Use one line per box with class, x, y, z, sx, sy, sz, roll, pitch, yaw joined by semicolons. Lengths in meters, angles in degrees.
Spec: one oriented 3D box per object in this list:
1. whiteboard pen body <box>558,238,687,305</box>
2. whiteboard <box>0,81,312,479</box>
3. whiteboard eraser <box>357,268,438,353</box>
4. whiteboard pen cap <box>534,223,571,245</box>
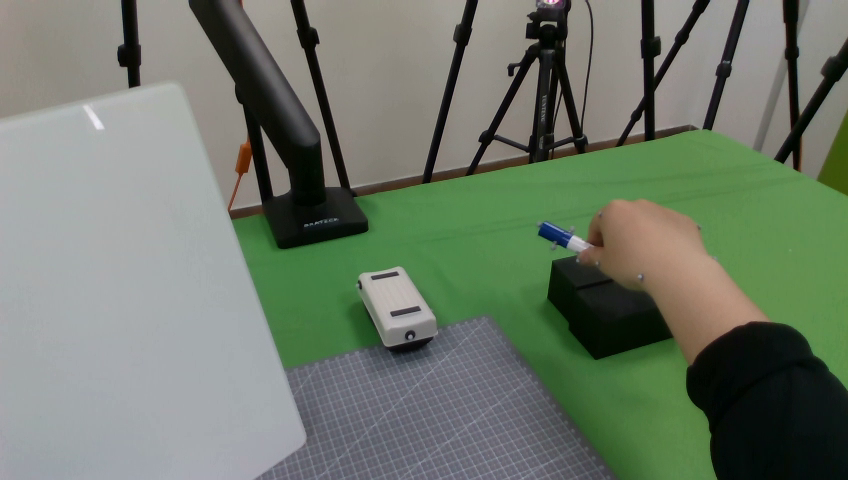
whiteboard pen body;0.176;0.023;0.566;0.140;0.017;0.017;28;41;21
whiteboard;-0.249;0.065;0.445;0.217;0.307;0.143;-27;22;-35
whiteboard eraser;-0.030;0.072;0.629;0.056;0.042;0.111;-13;31;-16
whiteboard pen cap;0.124;-0.005;0.586;0.033;0.018;0.018;-13;33;1
